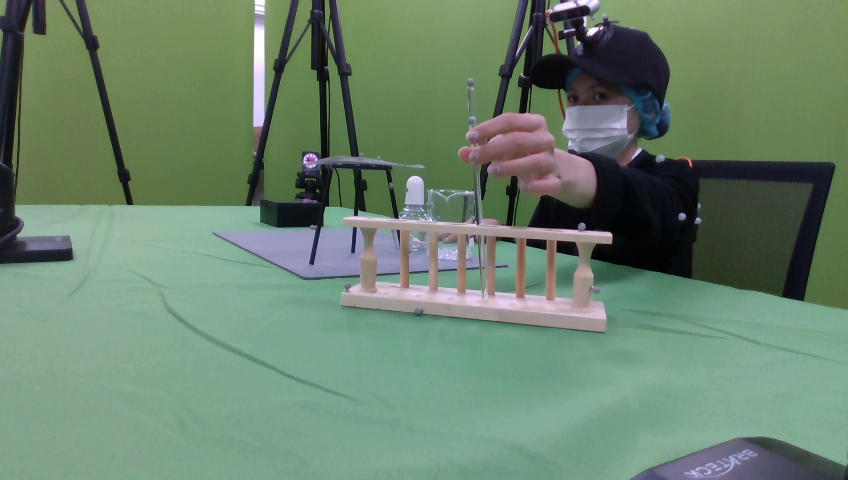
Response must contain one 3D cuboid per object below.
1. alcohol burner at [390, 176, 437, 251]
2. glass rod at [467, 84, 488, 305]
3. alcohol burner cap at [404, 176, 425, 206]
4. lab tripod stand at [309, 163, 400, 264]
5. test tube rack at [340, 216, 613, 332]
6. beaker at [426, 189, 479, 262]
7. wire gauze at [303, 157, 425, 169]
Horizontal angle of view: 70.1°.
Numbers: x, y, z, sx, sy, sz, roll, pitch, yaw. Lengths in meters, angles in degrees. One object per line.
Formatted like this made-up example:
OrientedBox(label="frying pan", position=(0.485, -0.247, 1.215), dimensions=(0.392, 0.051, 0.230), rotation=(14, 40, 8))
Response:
OrientedBox(label="alcohol burner", position=(-0.016, -0.042, 0.955), dimensions=(0.078, 0.119, 0.078), rotation=(4, 5, 0))
OrientedBox(label="glass rod", position=(0.048, -0.038, 0.542), dimensions=(0.008, 0.199, 0.008), rotation=(-4, 8, 1))
OrientedBox(label="alcohol burner cap", position=(-0.015, -0.077, 0.951), dimensions=(0.034, 0.048, 0.034), rotation=(3, 4, 0))
OrientedBox(label="lab tripod stand", position=(-0.091, -0.037, 0.813), dimensions=(0.148, 0.131, 0.148), rotation=(1, 6, 0))
OrientedBox(label="test tube rack", position=(0.047, 0.026, 0.568), dimensions=(0.242, 0.085, 0.067), rotation=(4, 8, 13))
OrientedBox(label="beaker", position=(0.039, -0.022, 0.871), dimensions=(0.074, 0.100, 0.084), rotation=(4, 8, 12))
OrientedBox(label="wire gauze", position=(-0.082, -0.102, 0.799), dimensions=(0.126, 0.011, 0.121), rotation=(-1, 7, -30))
